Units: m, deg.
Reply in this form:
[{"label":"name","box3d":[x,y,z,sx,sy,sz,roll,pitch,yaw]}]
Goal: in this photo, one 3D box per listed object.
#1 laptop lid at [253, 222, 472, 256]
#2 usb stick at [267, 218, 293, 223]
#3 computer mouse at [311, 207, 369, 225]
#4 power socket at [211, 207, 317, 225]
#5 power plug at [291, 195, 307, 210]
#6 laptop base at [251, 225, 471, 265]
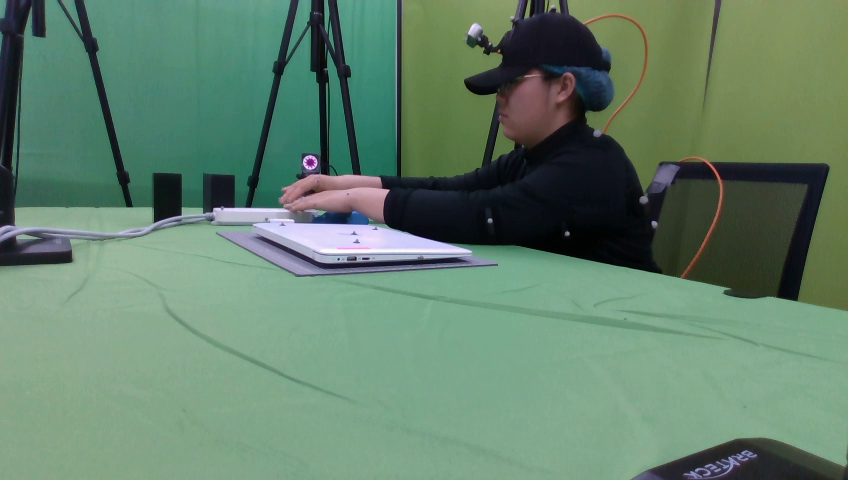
[{"label":"laptop lid","box3d":[-0.113,-0.005,0.955,0.243,0.013,0.355,1,7,-29]},{"label":"usb stick","box3d":[-0.272,-0.026,1.107,0.059,0.027,0.021,-4,11,-27]},{"label":"computer mouse","box3d":[-0.177,-0.046,1.273,0.118,0.041,0.062,-7,14,-25]},{"label":"power socket","box3d":[-0.334,-0.051,1.282,0.228,0.032,0.072,-1,9,-27]},{"label":"power plug","box3d":[-0.277,-0.074,1.341,0.035,0.052,0.072,-5,3,-7]},{"label":"laptop base","box3d":[-0.115,0.007,0.955,0.237,0.023,0.352,2,6,-31]}]
